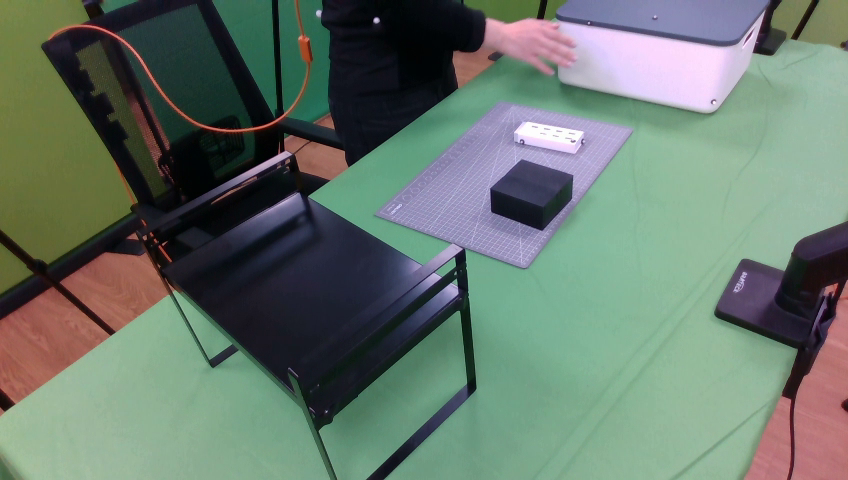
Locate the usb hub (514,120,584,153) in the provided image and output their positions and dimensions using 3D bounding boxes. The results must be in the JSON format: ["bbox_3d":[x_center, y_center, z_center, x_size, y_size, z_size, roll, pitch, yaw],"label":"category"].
[{"bbox_3d":[0.240,-0.200,1.165,0.124,0.025,0.049,17,46,26],"label":"usb hub"}]

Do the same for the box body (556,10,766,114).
[{"bbox_3d":[0.491,-0.419,1.283,0.361,0.161,0.255,22,49,30],"label":"box body"}]

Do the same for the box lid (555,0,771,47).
[{"bbox_3d":[0.481,-0.475,1.235,0.368,0.015,0.264,22,49,30],"label":"box lid"}]
